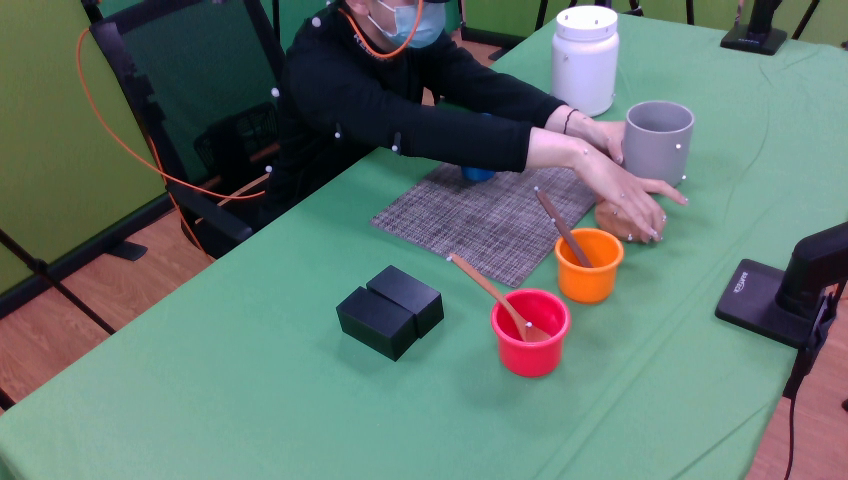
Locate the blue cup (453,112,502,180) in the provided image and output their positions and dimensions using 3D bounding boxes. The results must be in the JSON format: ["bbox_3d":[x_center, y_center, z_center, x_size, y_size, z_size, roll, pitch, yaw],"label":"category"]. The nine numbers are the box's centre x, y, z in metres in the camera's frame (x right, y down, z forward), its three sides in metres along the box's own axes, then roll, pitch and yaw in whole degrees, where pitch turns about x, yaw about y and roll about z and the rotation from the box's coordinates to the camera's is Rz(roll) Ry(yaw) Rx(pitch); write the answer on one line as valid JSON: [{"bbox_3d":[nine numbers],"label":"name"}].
[{"bbox_3d":[0.098,-0.165,1.089,0.092,0.100,0.092,-4,41,4],"label":"blue cup"}]

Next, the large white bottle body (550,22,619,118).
[{"bbox_3d":[0.320,-0.356,1.218,0.130,0.185,0.130,-4,41,4],"label":"large white bottle body"}]

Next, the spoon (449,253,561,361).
[{"bbox_3d":[0.103,0.083,0.770,0.194,0.021,0.042,47,51,-7],"label":"spoon"}]

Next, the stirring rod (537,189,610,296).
[{"bbox_3d":[0.211,0.003,0.854,0.014,0.006,0.176,-32,88,-29],"label":"stirring rod"}]

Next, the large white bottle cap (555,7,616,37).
[{"bbox_3d":[0.311,-0.420,1.163,0.115,0.018,0.114,-4,40,4],"label":"large white bottle cap"}]

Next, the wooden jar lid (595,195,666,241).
[{"bbox_3d":[0.329,-0.034,0.967,0.108,0.021,0.108,-2,41,2],"label":"wooden jar lid"}]

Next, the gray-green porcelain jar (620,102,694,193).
[{"bbox_3d":[0.387,-0.151,1.016,0.106,0.127,0.105,-4,40,4],"label":"gray-green porcelain jar"}]
